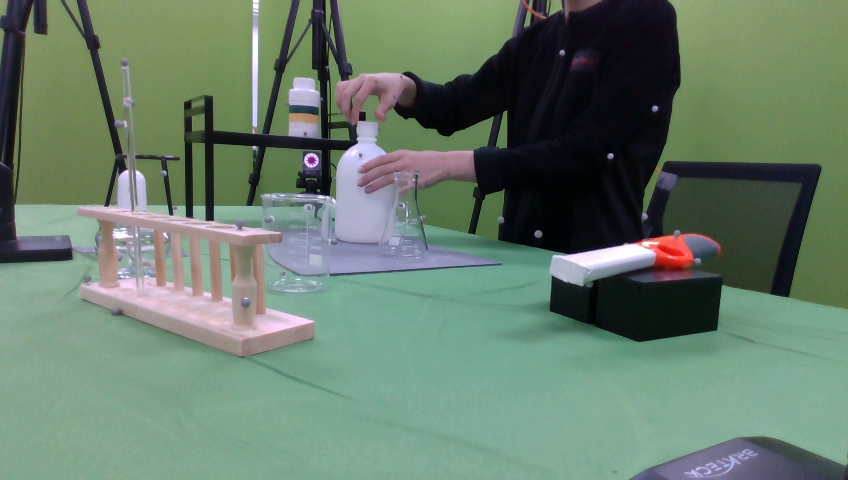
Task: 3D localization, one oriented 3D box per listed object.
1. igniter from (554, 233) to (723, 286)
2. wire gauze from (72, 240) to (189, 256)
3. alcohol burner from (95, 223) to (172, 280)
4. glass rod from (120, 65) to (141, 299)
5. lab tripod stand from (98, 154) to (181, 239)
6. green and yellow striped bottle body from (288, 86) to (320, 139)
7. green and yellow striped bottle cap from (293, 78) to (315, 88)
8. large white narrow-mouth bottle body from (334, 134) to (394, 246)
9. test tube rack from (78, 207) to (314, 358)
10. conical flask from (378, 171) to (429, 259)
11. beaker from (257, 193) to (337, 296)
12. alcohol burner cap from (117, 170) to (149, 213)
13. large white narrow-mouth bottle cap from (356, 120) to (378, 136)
[{"bbox_3d":[0.214,0.015,0.570,0.278,0.025,0.057,-5,22,-44],"label":"igniter"},{"bbox_3d":[-0.399,0.013,0.820,0.126,0.011,0.121,-3,8,-37],"label":"wire gauze"},{"bbox_3d":[-0.320,-0.016,0.667,0.078,0.119,0.078,0,7,0],"label":"alcohol burner"},{"bbox_3d":[-0.248,-0.047,0.513,0.008,0.199,0.008,-1,4,0],"label":"glass rod"},{"bbox_3d":[-0.427,-0.066,0.942,0.148,0.131,0.148,1,6,0],"label":"lab tripod stand"},{"bbox_3d":[-0.250,-0.272,1.261,0.063,0.119,0.063,3,7,0],"label":"green and yellow striped bottle body"},{"bbox_3d":[-0.248,-0.323,1.256,0.045,0.020,0.045,4,8,0],"label":"green and yellow striped bottle cap"},{"bbox_3d":[-0.099,-0.093,1.018,0.102,0.194,0.101,3,9,0],"label":"large white narrow-mouth bottle body"},{"bbox_3d":[-0.196,0.024,0.499,0.241,0.085,0.067,8,8,37],"label":"test tube rack"},{"bbox_3d":[-0.027,-0.037,0.869,0.075,0.122,0.075,3,7,0],"label":"conical flask"},{"bbox_3d":[-0.130,0.003,0.628,0.084,0.100,0.074,5,8,15],"label":"beaker"},{"bbox_3d":[-0.320,-0.052,0.661,0.034,0.048,0.034,-3,0,0],"label":"alcohol burner cap"},{"bbox_3d":[-0.094,-0.185,1.001,0.038,0.024,0.037,3,9,0],"label":"large white narrow-mouth bottle cap"}]
